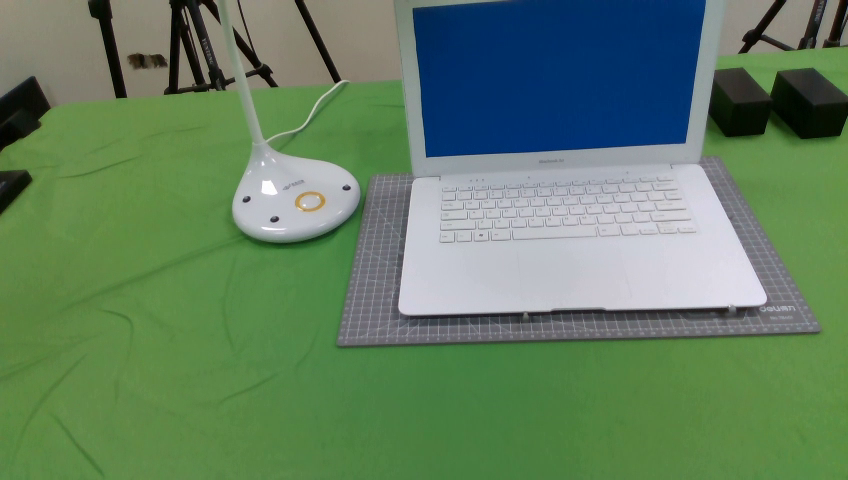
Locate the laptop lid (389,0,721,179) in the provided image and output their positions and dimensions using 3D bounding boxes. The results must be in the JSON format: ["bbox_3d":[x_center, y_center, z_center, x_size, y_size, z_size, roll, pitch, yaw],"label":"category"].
[{"bbox_3d":[0.145,-0.180,0.696,0.356,0.244,0.013,-4,32,6],"label":"laptop lid"}]

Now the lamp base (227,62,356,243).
[{"bbox_3d":[-0.182,-0.113,0.722,0.177,0.182,0.160,25,49,36],"label":"lamp base"}]

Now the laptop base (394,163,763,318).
[{"bbox_3d":[0.150,-0.004,0.670,0.354,0.023,0.233,-3,43,5],"label":"laptop base"}]
